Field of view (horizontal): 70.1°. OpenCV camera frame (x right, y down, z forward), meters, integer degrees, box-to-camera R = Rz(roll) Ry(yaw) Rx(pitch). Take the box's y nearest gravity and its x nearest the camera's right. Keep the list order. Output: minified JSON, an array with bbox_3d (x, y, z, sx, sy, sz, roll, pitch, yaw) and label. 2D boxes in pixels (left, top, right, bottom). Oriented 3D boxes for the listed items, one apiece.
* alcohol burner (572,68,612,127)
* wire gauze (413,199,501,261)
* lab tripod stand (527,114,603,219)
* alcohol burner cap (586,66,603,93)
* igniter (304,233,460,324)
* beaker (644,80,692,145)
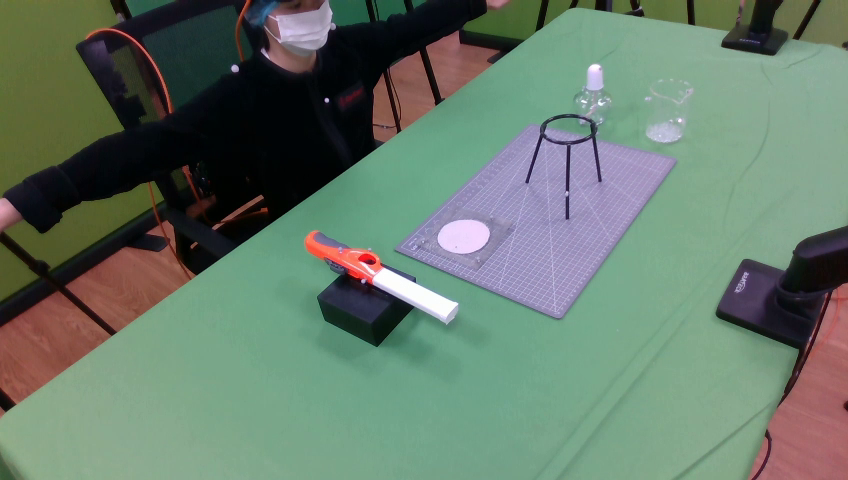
[{"bbox_3d":[0.333,-0.285,1.192,0.078,0.119,0.077,-4,42,4],"label":"alcohol burner"},{"bbox_3d":[0.054,-0.016,0.970,0.121,0.011,0.125,7,48,14],"label":"wire gauze"},{"bbox_3d":[0.234,-0.129,1.002,0.148,0.132,0.147,-6,40,6],"label":"lab tripod stand"},{"bbox_3d":[0.330,-0.312,1.170,0.034,0.048,0.033,-8,38,7],"label":"alcohol burner cap"},{"bbox_3d":[-0.070,0.048,0.853,0.274,0.025,0.057,24,47,29],"label":"igniter"},{"bbox_3d":[0.451,-0.233,1.122,0.074,0.101,0.083,-8,40,1],"label":"beaker"}]
